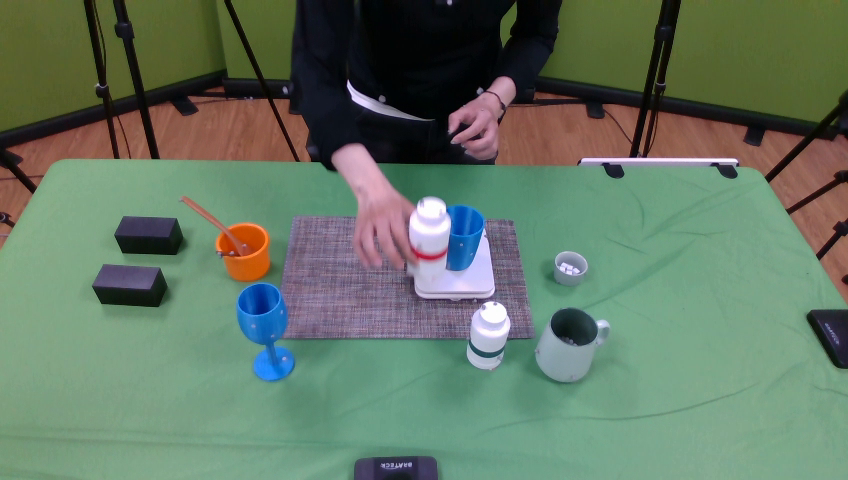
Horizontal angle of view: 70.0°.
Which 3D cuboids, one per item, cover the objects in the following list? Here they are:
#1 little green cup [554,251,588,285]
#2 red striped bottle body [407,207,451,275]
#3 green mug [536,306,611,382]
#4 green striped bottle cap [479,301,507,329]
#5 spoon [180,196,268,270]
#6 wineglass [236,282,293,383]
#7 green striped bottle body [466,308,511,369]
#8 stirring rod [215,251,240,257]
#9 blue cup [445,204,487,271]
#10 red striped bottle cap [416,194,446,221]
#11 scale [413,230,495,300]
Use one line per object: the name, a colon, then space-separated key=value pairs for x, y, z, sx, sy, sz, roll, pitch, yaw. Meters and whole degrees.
little green cup: x=0.277 y=0.055 z=1.151 sx=0.061 sy=0.039 sz=0.061 roll=1 pitch=46 yaw=-1
red striped bottle body: x=0.007 y=-0.009 z=0.921 sx=0.063 sy=0.120 sz=0.062 roll=3 pitch=43 yaw=-2
green mug: x=0.250 y=0.167 z=0.996 sx=0.125 sy=0.105 sz=0.092 roll=-15 pitch=49 yaw=-19
green striped bottle cap: x=0.109 y=0.117 z=0.950 sx=0.044 sy=0.020 sz=0.044 roll=2 pitch=48 yaw=-2
spoon: x=-0.360 y=-0.014 z=1.094 sx=0.021 sy=0.194 sz=0.041 roll=-27 pitch=26 yaw=31
wineglass: x=-0.243 y=0.143 z=0.934 sx=0.074 sy=0.173 sz=0.073 roll=2 pitch=46 yaw=-2
green striped bottle body: x=0.105 y=0.154 z=0.988 sx=0.063 sy=0.120 sz=0.063 roll=2 pitch=46 yaw=-2
stirring rod: x=-0.339 y=0.024 z=1.059 sx=0.014 sy=0.176 sz=0.006 roll=15 pitch=86 yaw=-6
blue cup: x=0.063 y=0.001 z=1.097 sx=0.093 sy=0.101 sz=0.092 roll=2 pitch=43 yaw=-1
red striped bottle cap: x=0.010 y=-0.048 z=0.885 sx=0.044 sy=0.018 sz=0.044 roll=2 pitch=42 yaw=-2
scale: x=0.052 y=0.031 z=1.158 sx=0.149 sy=0.032 sz=0.199 roll=1 pitch=46 yaw=-4
